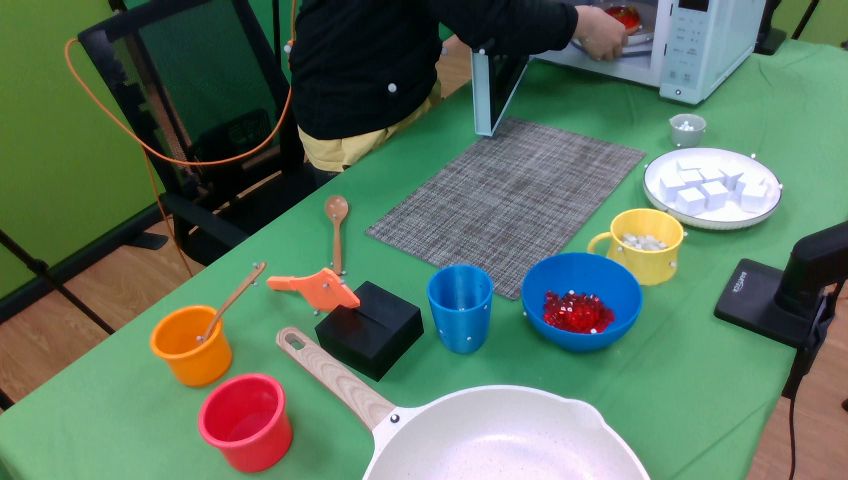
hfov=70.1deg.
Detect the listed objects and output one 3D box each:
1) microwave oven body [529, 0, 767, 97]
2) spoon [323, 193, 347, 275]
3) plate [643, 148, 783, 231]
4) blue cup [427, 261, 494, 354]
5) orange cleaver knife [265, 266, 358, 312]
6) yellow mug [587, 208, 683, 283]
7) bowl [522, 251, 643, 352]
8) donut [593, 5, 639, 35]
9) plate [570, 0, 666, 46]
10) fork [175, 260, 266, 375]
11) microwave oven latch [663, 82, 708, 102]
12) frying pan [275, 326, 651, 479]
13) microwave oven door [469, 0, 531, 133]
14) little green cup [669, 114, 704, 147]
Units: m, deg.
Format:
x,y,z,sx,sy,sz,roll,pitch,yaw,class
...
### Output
x,y,z,sx,sy,sz,roll,pitch,yaw,class
0.473,-0.516,1.313,0.438,0.261,0.327,26,51,34,microwave oven body
-0.148,-0.014,1.008,0.042,0.021,0.192,4,39,-12,spoon
0.464,-0.080,0.986,0.207,0.039,0.206,-4,41,4,plate
0.050,0.095,0.791,0.092,0.100,0.092,-3,42,3,blue cup
-0.165,0.073,0.864,0.210,0.077,0.012,-6,31,50,orange cleaver knife
0.305,0.009,0.884,0.131,0.064,0.099,-4,41,5,yellow mug
0.204,0.093,0.792,0.151,0.077,0.150,-4,40,4,bowl
0.428,-0.489,1.346,0.099,0.048,0.098,-6,40,6,donut
0.434,-0.487,1.367,0.209,0.038,0.208,-3,41,3,plate
-0.268,0.103,0.792,0.207,0.019,0.028,-51,41,16,fork
0.518,-0.298,1.202,0.078,0.029,0.030,29,53,36,microwave oven latch
0.004,0.229,0.641,0.484,0.103,0.308,34,54,28,frying pan
0.163,-0.414,1.231,0.039,0.245,0.355,9,44,19,microwave oven door
0.485,-0.203,1.123,0.061,0.039,0.061,-5,40,5,little green cup
